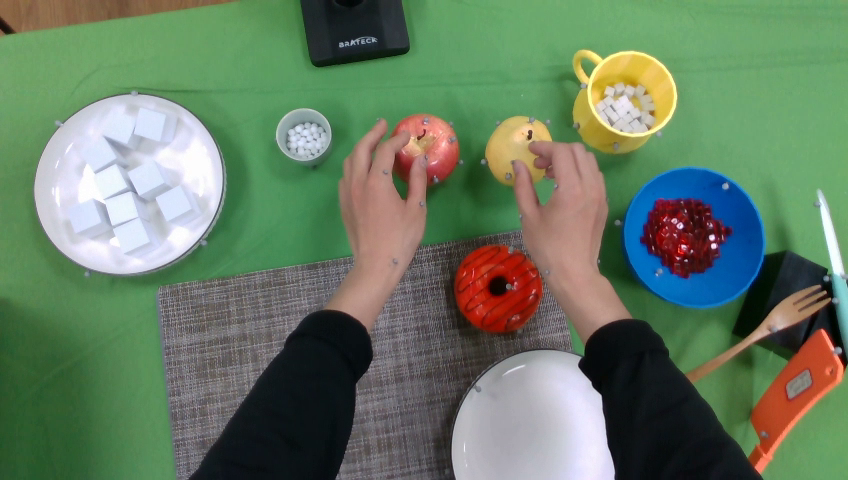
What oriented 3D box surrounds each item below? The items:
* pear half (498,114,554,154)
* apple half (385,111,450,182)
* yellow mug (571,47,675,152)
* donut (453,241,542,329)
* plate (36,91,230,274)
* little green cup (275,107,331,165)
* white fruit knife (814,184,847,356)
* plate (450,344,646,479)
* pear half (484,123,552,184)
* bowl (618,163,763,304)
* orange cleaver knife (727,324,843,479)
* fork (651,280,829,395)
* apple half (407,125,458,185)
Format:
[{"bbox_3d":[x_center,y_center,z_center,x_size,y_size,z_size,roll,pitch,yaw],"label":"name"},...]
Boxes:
[{"bbox_3d":[0.117,-0.123,0.678,0.070,0.088,0.031,21,82,7],"label":"pear half"},{"bbox_3d":[-0.014,-0.111,0.681,0.053,0.075,0.081,40,86,8],"label":"apple half"},{"bbox_3d":[0.217,-0.171,0.700,0.100,0.064,0.130,-41,84,-6],"label":"yellow mug"},{"bbox_3d":[0.081,0.049,0.672,0.099,0.048,0.099,0,83,2],"label":"donut"},{"bbox_3d":[-0.321,-0.063,0.683,0.208,0.039,0.207,0,82,-2],"label":"plate"},{"bbox_3d":[-0.136,-0.117,0.696,0.061,0.039,0.061,0,82,-1],"label":"little green cup"},{"bbox_3d":[0.447,0.039,0.653,0.027,0.016,0.206,-2,79,-31],"label":"white fruit knife"},{"bbox_3d":[0.131,0.217,0.653,0.209,0.038,0.208,0,82,-2],"label":"plate"},{"bbox_3d":[0.101,-0.093,0.663,0.076,0.110,0.056,22,81,6],"label":"pear half"},{"bbox_3d":[0.281,-0.003,0.672,0.151,0.077,0.151,0,83,-1],"label":"bowl"},{"bbox_3d":[0.373,0.185,0.646,0.012,0.077,0.212,22,111,0],"label":"orange cleaver knife"},{"bbox_3d":[0.335,0.109,0.653,0.207,0.018,0.028,-39,91,14],"label":"fork"},{"bbox_3d":[0.016,-0.086,0.677,0.032,0.081,0.081,39,82,8],"label":"apple half"}]
